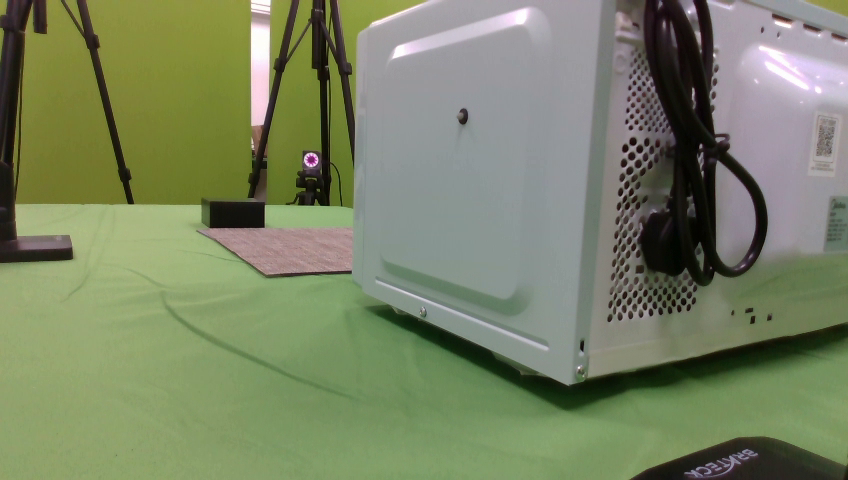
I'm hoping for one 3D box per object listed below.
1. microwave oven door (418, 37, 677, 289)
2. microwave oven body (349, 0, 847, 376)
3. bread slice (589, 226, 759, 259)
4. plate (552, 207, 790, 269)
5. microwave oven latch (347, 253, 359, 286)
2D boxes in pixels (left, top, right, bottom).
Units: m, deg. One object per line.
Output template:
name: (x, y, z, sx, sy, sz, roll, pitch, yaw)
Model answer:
microwave oven door: (0.158, -0.079, 0.684, 0.358, 0.243, 0.039, -2, 9, -32)
microwave oven body: (0.199, -0.053, 0.540, 0.444, 0.260, 0.324, -1, 7, -32)
bread slice: (0.226, 0.001, 0.568, 0.132, 0.019, 0.104, 3, 5, -23)
plate: (0.225, -0.004, 0.572, 0.209, 0.038, 0.209, 4, 7, 0)
microwave oven latch: (-0.034, 0.028, 0.581, 0.079, 0.029, 0.030, -1, 7, -32)
